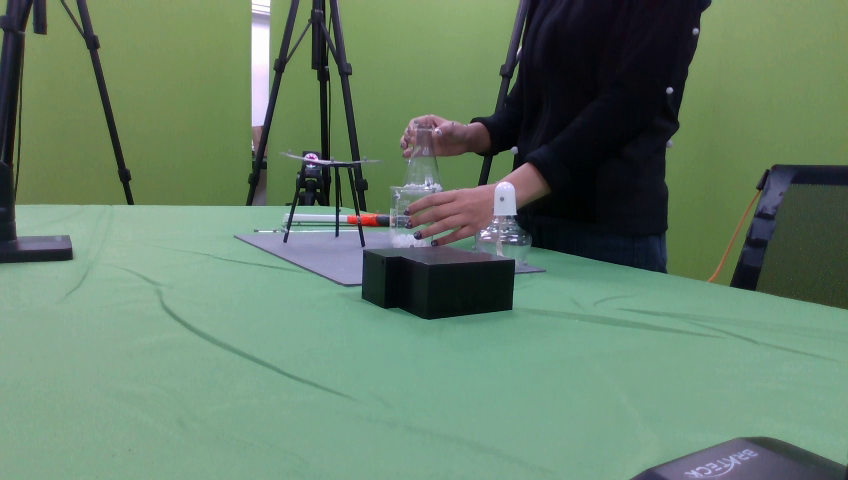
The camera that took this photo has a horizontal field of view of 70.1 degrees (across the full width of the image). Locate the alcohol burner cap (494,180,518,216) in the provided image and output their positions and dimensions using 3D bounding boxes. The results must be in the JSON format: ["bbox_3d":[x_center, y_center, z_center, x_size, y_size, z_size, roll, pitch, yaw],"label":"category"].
[{"bbox_3d":[0.108,-0.055,0.800,0.034,0.048,0.034,-2,4,0],"label":"alcohol burner cap"}]

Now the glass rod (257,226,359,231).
[{"bbox_3d":[-0.216,-0.022,1.151,0.201,0.008,0.008,-2,8,-28],"label":"glass rod"}]

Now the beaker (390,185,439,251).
[{"bbox_3d":[-0.019,-0.035,0.945,0.074,0.100,0.083,-4,9,-42],"label":"beaker"}]

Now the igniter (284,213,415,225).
[{"bbox_3d":[-0.154,-0.045,1.282,0.278,0.025,0.057,0,-2,-20],"label":"igniter"}]

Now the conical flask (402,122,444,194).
[{"bbox_3d":[-0.001,-0.142,1.047,0.075,0.122,0.075,1,7,0],"label":"conical flask"}]

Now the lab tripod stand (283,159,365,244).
[{"bbox_3d":[-0.151,-0.063,0.983,0.148,0.131,0.148,4,7,0],"label":"lab tripod stand"}]

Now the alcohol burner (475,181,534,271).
[{"bbox_3d":[0.108,-0.020,0.804,0.078,0.119,0.078,3,5,0],"label":"alcohol burner"}]

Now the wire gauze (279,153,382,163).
[{"bbox_3d":[-0.149,-0.129,0.974,0.124,0.011,0.122,10,9,41],"label":"wire gauze"}]
